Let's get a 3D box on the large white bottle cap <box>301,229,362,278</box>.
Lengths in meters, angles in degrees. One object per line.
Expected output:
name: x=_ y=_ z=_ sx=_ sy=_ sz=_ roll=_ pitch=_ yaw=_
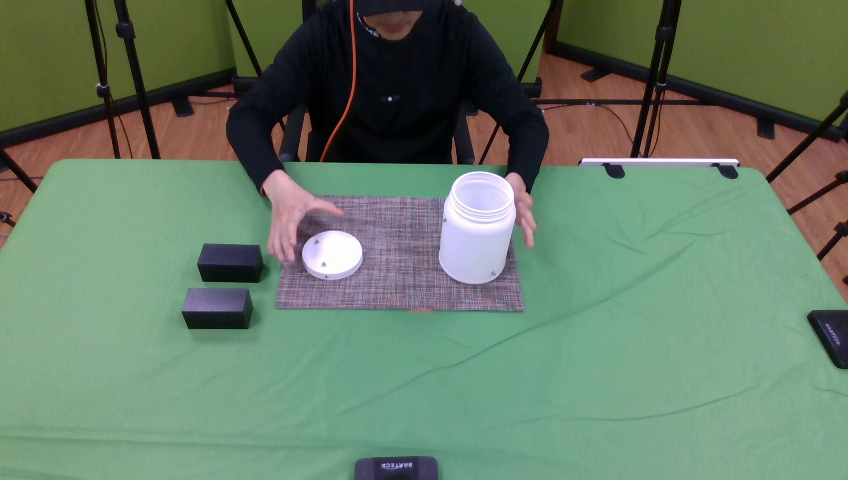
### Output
large white bottle cap: x=-0.175 y=0.024 z=1.156 sx=0.115 sy=0.018 sz=0.114 roll=3 pitch=47 yaw=-2

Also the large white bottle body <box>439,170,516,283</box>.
large white bottle body: x=0.097 y=-0.024 z=1.108 sx=0.131 sy=0.185 sz=0.130 roll=2 pitch=47 yaw=-2
